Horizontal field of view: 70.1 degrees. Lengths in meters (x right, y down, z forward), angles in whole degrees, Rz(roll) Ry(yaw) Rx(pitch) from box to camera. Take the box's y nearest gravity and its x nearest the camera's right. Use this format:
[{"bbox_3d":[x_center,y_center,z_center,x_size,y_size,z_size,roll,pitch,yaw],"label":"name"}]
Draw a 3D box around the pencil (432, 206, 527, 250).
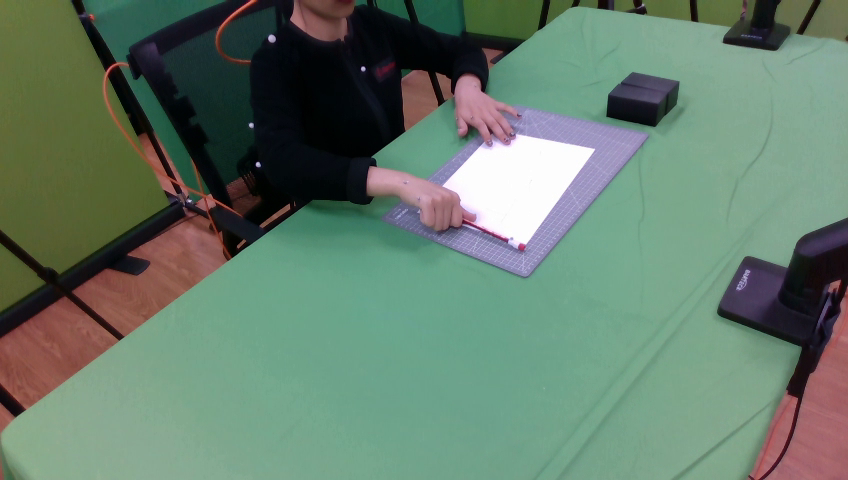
[{"bbox_3d":[0.086,-0.023,0.991,0.192,0.012,0.012,26,52,33],"label":"pencil"}]
